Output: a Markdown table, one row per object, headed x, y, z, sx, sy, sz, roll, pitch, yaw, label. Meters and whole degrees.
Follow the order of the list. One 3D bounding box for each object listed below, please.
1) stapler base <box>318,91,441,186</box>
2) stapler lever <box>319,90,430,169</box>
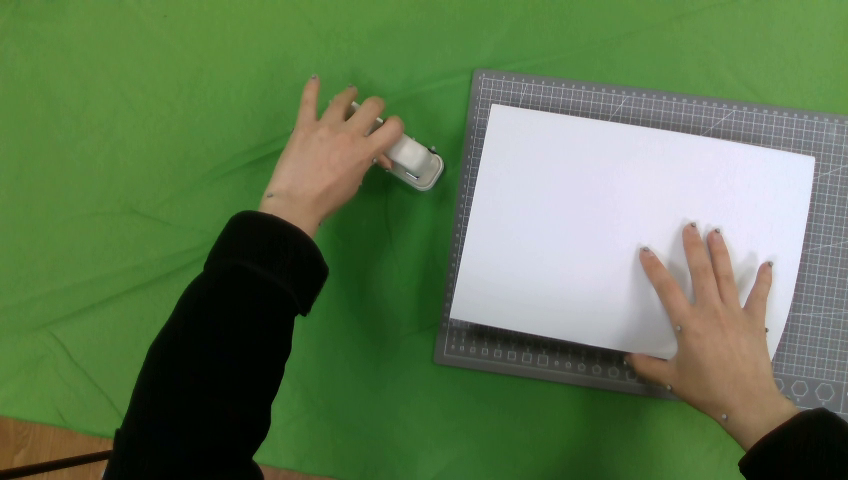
| x | y | z | sx | sy | sz | roll | pitch | yaw | label |
| --- | --- | --- | --- | --- | --- | --- | --- | --- | --- |
| -0.044 | -0.103 | 0.597 | 0.130 | 0.024 | 0.041 | 32 | 85 | 7 | stapler base |
| -0.048 | -0.106 | 0.572 | 0.118 | 0.040 | 0.027 | 32 | 85 | 7 | stapler lever |
